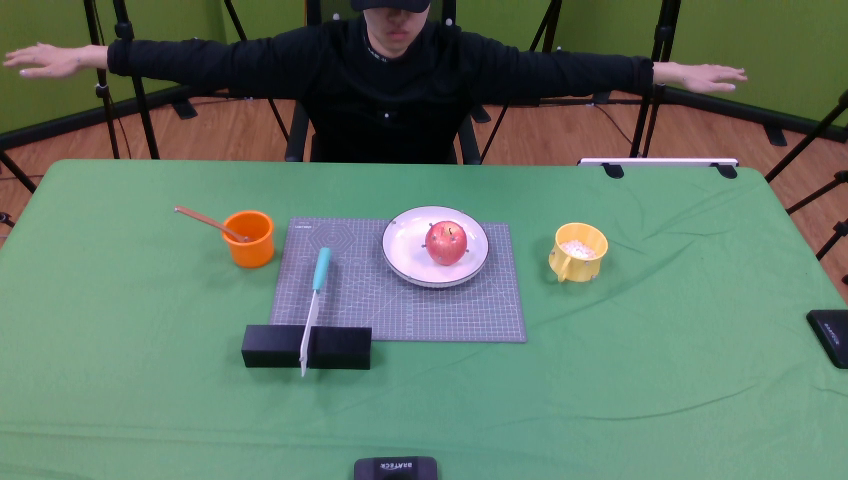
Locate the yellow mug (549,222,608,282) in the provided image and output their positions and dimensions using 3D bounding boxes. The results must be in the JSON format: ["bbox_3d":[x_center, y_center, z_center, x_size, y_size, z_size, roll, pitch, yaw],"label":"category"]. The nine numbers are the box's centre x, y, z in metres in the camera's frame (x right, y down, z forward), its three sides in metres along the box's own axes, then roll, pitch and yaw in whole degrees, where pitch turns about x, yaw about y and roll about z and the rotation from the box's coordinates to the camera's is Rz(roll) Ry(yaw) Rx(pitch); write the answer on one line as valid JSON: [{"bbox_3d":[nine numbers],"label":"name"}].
[{"bbox_3d":[0.287,0.031,1.159,0.099,0.064,0.130,27,51,21],"label":"yellow mug"}]

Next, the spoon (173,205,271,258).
[{"bbox_3d":[-0.362,-0.017,1.098,0.021,0.195,0.041,-32,42,27],"label":"spoon"}]

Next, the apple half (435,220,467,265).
[{"bbox_3d":[0.054,0.009,1.142,0.053,0.075,0.080,14,44,3],"label":"apple half"}]

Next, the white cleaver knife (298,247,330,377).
[{"bbox_3d":[-0.191,0.111,1.037,0.021,0.066,0.285,5,36,-2],"label":"white cleaver knife"}]

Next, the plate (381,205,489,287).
[{"bbox_3d":[0.021,0.015,1.170,0.209,0.038,0.208,2,46,-2],"label":"plate"}]

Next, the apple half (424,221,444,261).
[{"bbox_3d":[0.016,0.002,1.145,0.033,0.081,0.081,14,46,2],"label":"apple half"}]
